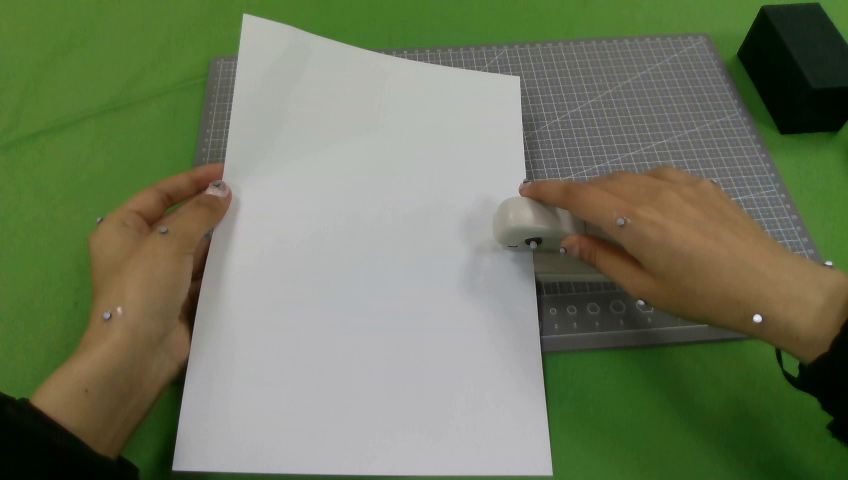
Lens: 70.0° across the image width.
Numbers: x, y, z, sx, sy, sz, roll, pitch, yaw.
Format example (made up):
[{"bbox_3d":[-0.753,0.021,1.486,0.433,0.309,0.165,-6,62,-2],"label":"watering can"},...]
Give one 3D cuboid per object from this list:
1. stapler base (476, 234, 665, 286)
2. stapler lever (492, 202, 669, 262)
[{"bbox_3d":[0.102,0.009,0.416,0.131,0.024,0.041,1,60,-2],"label":"stapler base"},{"bbox_3d":[0.103,-0.005,0.395,0.118,0.040,0.026,0,60,-2],"label":"stapler lever"}]
